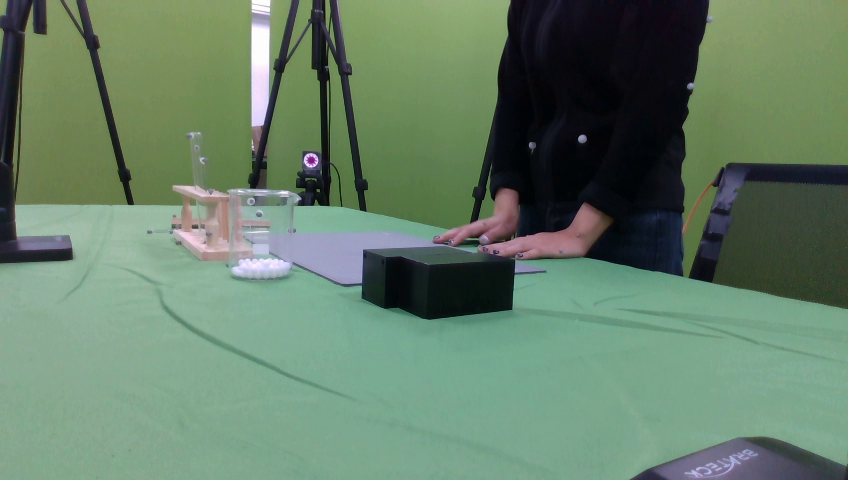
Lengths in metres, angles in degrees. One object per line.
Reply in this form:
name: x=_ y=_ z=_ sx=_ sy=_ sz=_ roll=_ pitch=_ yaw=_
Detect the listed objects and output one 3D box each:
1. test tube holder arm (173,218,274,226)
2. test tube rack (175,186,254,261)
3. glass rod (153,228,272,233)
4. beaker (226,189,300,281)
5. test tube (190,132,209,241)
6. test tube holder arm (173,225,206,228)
test tube holder arm: x=-0.371 y=-0.033 z=1.127 sx=0.179 sy=0.015 sz=0.013 roll=-1 pitch=-21 yaw=-25
test tube rack: x=-0.314 y=-0.030 z=0.889 sx=0.067 sy=0.085 sz=0.241 roll=-2 pitch=8 yaw=-30
glass rod: x=-0.368 y=-0.017 z=1.065 sx=0.201 sy=0.008 sz=0.008 roll=-2 pitch=8 yaw=-27
beaker: x=-0.184 y=-0.007 z=0.694 sx=0.084 sy=0.100 sz=0.073 roll=-1 pitch=8 yaw=-29
test tube: x=-0.308 y=-0.074 z=0.840 sx=0.017 sy=0.150 sz=0.017 roll=-4 pitch=6 yaw=1
test tube holder arm: x=-0.414 y=-0.030 z=1.113 sx=0.088 sy=0.015 sz=0.010 roll=-1 pitch=-21 yaw=-25
